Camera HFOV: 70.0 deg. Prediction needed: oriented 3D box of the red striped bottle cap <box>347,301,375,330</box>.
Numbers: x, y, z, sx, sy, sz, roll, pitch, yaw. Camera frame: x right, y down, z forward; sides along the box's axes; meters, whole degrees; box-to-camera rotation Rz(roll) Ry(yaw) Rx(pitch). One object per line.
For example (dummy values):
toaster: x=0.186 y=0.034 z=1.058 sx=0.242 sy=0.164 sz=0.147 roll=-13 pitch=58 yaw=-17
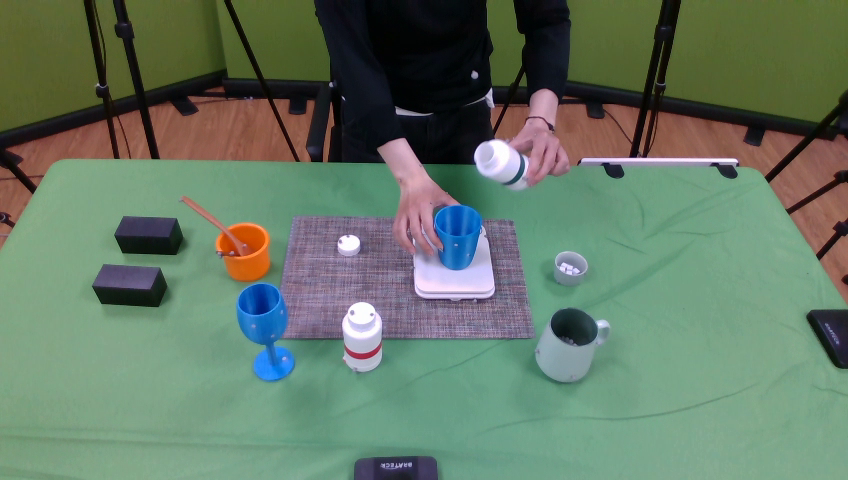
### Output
red striped bottle cap: x=-0.097 y=0.116 z=0.934 sx=0.044 sy=0.018 sz=0.044 roll=2 pitch=49 yaw=-2

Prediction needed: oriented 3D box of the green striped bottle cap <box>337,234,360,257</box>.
green striped bottle cap: x=-0.147 y=0.010 z=1.175 sx=0.044 sy=0.020 sz=0.044 roll=3 pitch=48 yaw=-3

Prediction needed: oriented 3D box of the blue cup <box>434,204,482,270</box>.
blue cup: x=0.060 y=0.000 z=1.097 sx=0.092 sy=0.101 sz=0.092 roll=0 pitch=45 yaw=1

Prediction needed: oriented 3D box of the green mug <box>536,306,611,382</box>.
green mug: x=0.250 y=0.167 z=0.996 sx=0.125 sy=0.105 sz=0.092 roll=-15 pitch=48 yaw=-18

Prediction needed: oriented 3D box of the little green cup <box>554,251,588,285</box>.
little green cup: x=0.276 y=0.055 z=1.151 sx=0.061 sy=0.039 sz=0.061 roll=1 pitch=46 yaw=-1

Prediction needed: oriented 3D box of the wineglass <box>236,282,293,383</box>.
wineglass: x=-0.243 y=0.143 z=0.934 sx=0.074 sy=0.173 sz=0.073 roll=2 pitch=46 yaw=-2

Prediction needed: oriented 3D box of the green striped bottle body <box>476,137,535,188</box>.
green striped bottle body: x=0.133 y=-0.132 z=1.014 sx=0.120 sy=0.063 sz=0.063 roll=20 pitch=23 yaw=-52

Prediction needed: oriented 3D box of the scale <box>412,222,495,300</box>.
scale: x=0.052 y=0.031 z=1.158 sx=0.149 sy=0.032 sz=0.199 roll=1 pitch=46 yaw=-4

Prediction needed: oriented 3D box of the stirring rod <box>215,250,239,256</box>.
stirring rod: x=-0.339 y=0.024 z=1.059 sx=0.014 sy=0.176 sz=0.006 roll=17 pitch=86 yaw=-6

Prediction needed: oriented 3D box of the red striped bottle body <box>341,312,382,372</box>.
red striped bottle body: x=-0.100 y=0.154 z=0.972 sx=0.063 sy=0.120 sz=0.062 roll=2 pitch=46 yaw=-1

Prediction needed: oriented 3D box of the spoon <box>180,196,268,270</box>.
spoon: x=-0.360 y=-0.014 z=1.094 sx=0.021 sy=0.194 sz=0.041 roll=-28 pitch=26 yaw=31
